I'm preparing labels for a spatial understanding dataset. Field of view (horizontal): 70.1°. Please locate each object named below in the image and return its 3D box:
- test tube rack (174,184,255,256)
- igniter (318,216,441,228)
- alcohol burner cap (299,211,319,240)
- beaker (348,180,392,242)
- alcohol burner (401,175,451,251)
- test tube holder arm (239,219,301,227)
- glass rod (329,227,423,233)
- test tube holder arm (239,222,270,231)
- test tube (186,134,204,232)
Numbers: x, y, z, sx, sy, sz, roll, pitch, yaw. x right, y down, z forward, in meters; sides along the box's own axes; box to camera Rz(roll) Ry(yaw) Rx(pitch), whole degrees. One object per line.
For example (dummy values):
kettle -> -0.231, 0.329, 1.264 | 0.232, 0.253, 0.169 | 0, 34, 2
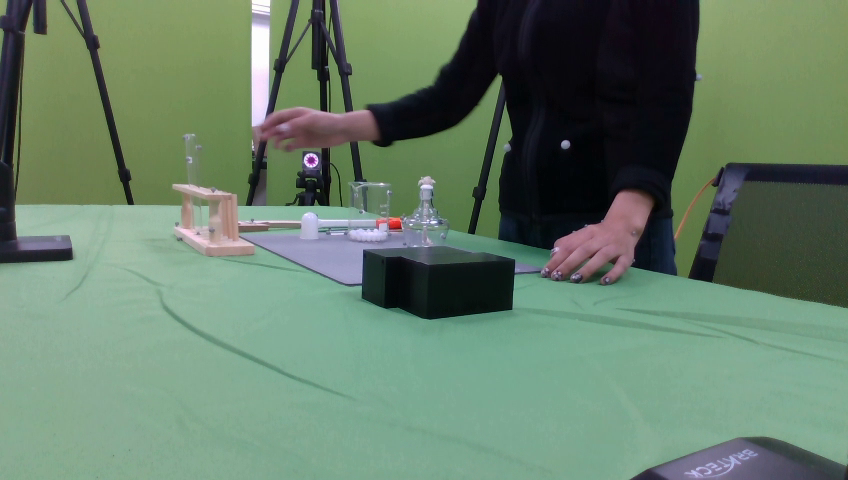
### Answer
test tube rack -> -0.327, -0.036, 0.928 | 0.067, 0.085, 0.241 | -2, 9, -32
igniter -> -0.090, -0.035, 1.223 | 0.278, 0.025, 0.057 | -2, -1, -31
alcohol burner cap -> -0.195, -0.025, 1.025 | 0.034, 0.048, 0.034 | 3, 7, 0
beaker -> -0.095, -0.049, 1.027 | 0.074, 0.100, 0.084 | 5, 9, 25
alcohol burner -> 0.003, -0.042, 0.947 | 0.078, 0.119, 0.078 | 1, 9, 0
test tube holder arm -> -0.296, -0.030, 1.137 | 0.179, 0.015, 0.013 | -6, 45, -50
glass rod -> -0.087, -0.019, 1.148 | 0.201, 0.008, 0.008 | -3, 8, -32
test tube holder arm -> -0.322, -0.024, 1.100 | 0.088, 0.015, 0.010 | -4, 43, -49
test tube -> -0.351, -0.086, 0.925 | 0.017, 0.150, 0.017 | -2, 7, 1
